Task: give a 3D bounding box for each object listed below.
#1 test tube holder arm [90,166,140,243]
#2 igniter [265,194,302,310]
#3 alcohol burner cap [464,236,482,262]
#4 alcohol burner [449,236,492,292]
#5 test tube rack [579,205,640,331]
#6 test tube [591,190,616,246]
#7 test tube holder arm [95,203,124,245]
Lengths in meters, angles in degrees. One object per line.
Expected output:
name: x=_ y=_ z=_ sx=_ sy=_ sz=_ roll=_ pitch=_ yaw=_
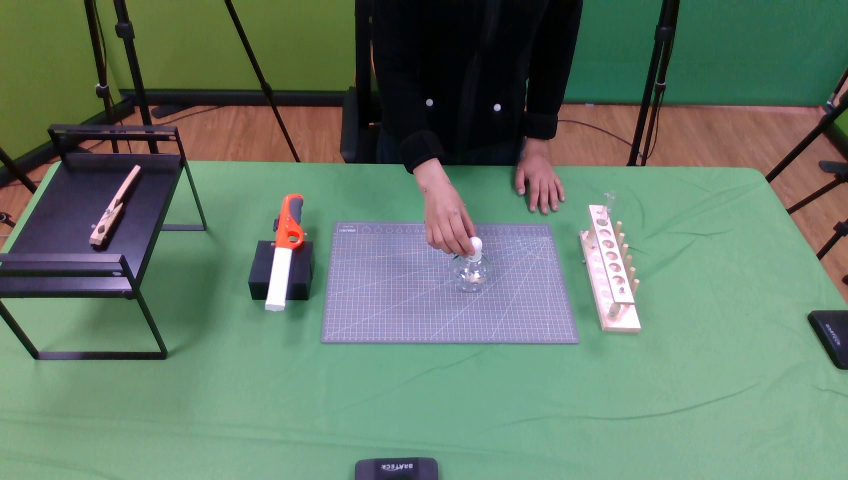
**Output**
test tube holder arm: x=-0.492 y=-0.061 z=0.970 sx=0.013 sy=0.015 sz=0.177 roll=28 pitch=38 yaw=-24
igniter: x=-0.253 y=0.012 z=1.099 sx=0.057 sy=0.025 sz=0.274 roll=9 pitch=46 yaw=-12
alcohol burner cap: x=0.088 y=0.014 z=1.075 sx=0.034 sy=0.048 sz=0.033 roll=1 pitch=52 yaw=-1
alcohol burner: x=0.087 y=0.038 z=1.101 sx=0.078 sy=0.119 sz=0.077 roll=3 pitch=44 yaw=-2
test tube rack: x=0.353 y=0.047 z=1.137 sx=0.067 sy=0.085 sz=0.241 roll=2 pitch=46 yaw=-2
test tube: x=0.338 y=-0.038 z=1.149 sx=0.017 sy=0.151 sz=0.017 roll=0 pitch=51 yaw=0
test tube holder arm: x=-0.488 y=-0.027 z=0.940 sx=0.010 sy=0.015 sz=0.087 roll=29 pitch=38 yaw=-23
